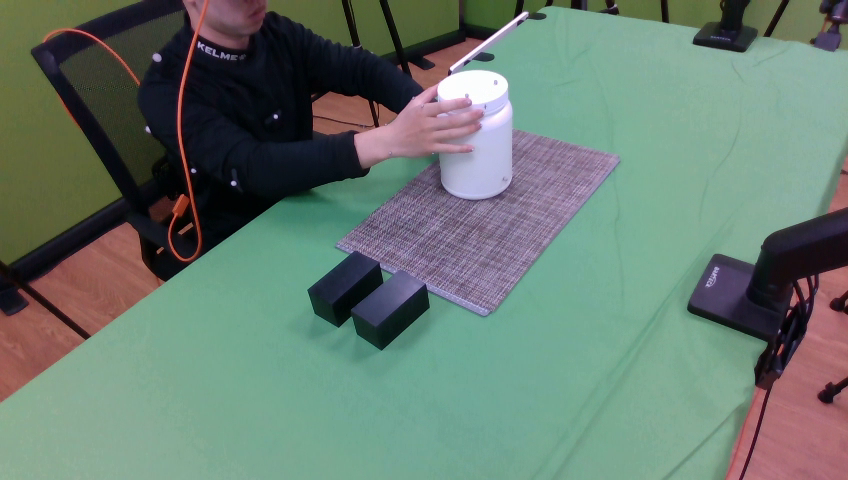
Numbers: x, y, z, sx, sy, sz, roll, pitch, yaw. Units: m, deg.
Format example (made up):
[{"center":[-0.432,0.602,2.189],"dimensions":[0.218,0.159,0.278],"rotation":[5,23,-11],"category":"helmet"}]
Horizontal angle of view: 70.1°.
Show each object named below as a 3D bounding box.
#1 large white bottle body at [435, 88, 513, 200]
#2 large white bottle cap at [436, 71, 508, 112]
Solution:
[{"center":[0.087,-0.176,1.030],"dimensions":[0.130,0.185,0.130],"rotation":[-4,40,4],"category":"large white bottle body"},{"center":[0.077,-0.240,0.974],"dimensions":[0.115,0.018,0.114],"rotation":[-4,40,4],"category":"large white bottle cap"}]
